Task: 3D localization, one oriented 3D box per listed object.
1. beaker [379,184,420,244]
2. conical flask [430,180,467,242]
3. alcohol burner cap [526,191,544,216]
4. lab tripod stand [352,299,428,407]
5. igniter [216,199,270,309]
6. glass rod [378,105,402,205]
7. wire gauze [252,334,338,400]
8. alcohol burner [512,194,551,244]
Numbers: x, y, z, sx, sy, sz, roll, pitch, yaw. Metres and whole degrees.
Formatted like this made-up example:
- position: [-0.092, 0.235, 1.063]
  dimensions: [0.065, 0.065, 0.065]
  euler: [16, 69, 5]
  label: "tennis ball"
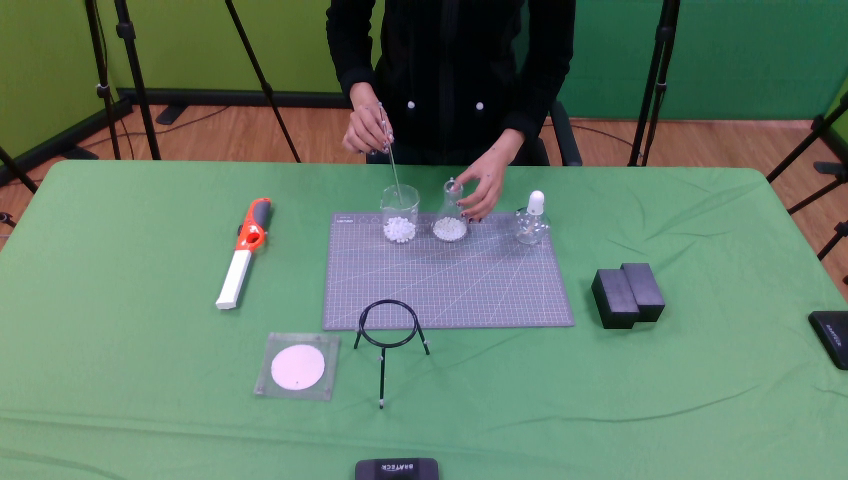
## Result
- position: [-0.050, -0.047, 1.184]
  dimensions: [0.084, 0.101, 0.073]
  euler: [-27, 53, -26]
  label: "beaker"
- position: [0.052, -0.060, 1.188]
  dimensions: [0.075, 0.122, 0.075]
  euler: [2, 46, -2]
  label: "conical flask"
- position: [0.216, -0.073, 1.170]
  dimensions: [0.034, 0.048, 0.033]
  euler: [0, 42, 1]
  label: "alcohol burner cap"
- position: [-0.056, 0.166, 0.958]
  dimensions: [0.148, 0.132, 0.147]
  euler: [3, 44, -2]
  label: "lab tripod stand"
- position: [-0.342, 0.016, 1.153]
  dimensions: [0.057, 0.025, 0.275]
  euler: [-3, 45, 7]
  label: "igniter"
- position: [-0.060, -0.150, 1.102]
  dimensions: [0.008, 0.201, 0.008]
  euler: [-8, 33, 5]
  label: "glass rod"
- position: [-0.209, 0.204, 0.996]
  dimensions: [0.125, 0.011, 0.120]
  euler: [3, 45, 1]
  label: "wire gauze"
- position: [0.215, -0.048, 1.196]
  dimensions: [0.078, 0.119, 0.077]
  euler: [4, 46, -4]
  label: "alcohol burner"
